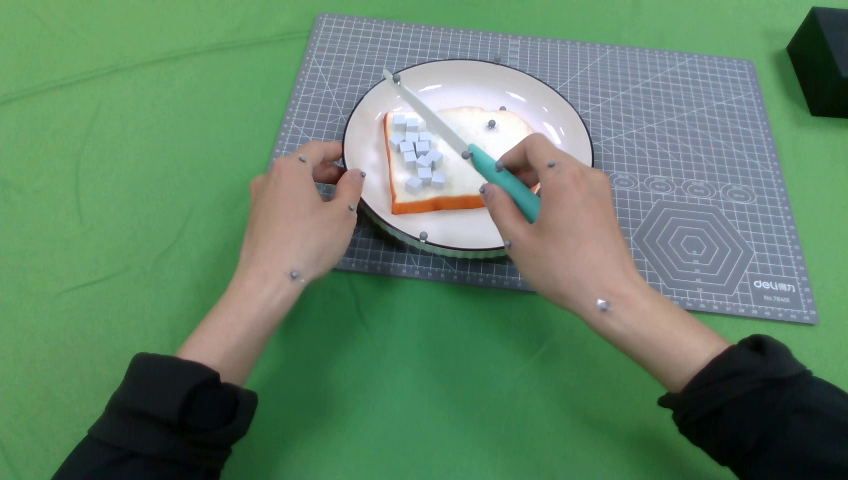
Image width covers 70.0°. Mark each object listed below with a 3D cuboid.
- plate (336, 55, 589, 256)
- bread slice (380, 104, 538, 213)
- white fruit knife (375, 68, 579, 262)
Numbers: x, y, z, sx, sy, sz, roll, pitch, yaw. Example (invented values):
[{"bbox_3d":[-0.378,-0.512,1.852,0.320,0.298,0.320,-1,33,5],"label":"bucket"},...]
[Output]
[{"bbox_3d":[0.031,-0.072,0.510,0.209,0.038,0.207,2,58,-2],"label":"plate"},{"bbox_3d":[0.030,-0.075,0.515,0.132,0.019,0.104,-7,59,-5],"label":"bread slice"},{"bbox_3d":[0.034,-0.060,0.439,0.016,0.027,0.206,-41,75,-20],"label":"white fruit knife"}]
